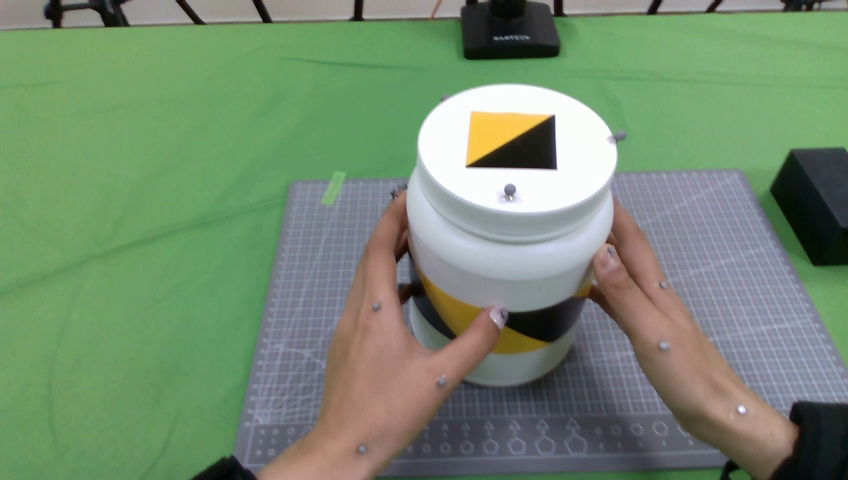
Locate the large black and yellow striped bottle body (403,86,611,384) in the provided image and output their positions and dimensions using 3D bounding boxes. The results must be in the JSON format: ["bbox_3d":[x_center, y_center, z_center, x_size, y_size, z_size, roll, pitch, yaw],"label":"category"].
[{"bbox_3d":[0.051,0.002,0.417,0.131,0.185,0.129,0,50,0],"label":"large black and yellow striped bottle body"}]

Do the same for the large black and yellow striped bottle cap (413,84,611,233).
[{"bbox_3d":[0.050,-0.052,0.352,0.115,0.019,0.114,0,49,0],"label":"large black and yellow striped bottle cap"}]
